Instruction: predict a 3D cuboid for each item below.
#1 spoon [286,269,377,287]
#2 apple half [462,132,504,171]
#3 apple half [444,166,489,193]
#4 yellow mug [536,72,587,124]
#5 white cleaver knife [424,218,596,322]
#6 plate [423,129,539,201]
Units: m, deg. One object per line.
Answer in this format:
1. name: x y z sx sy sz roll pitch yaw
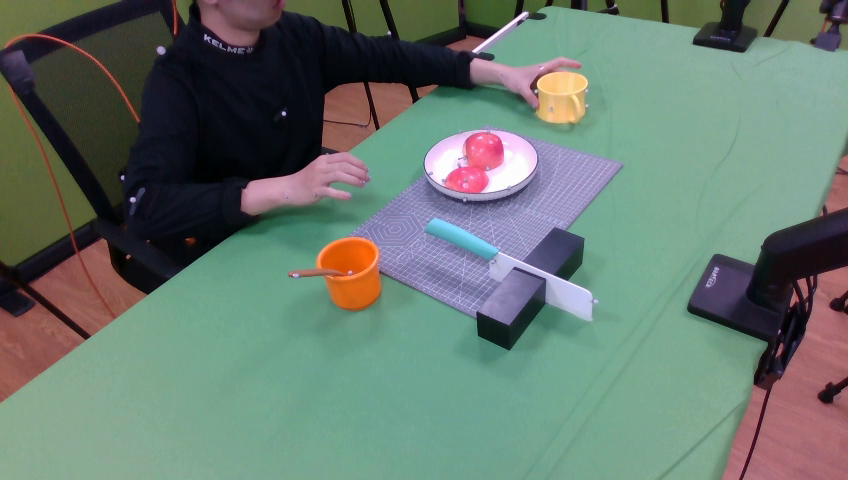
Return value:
1. spoon: -0.125 0.049 0.831 0.041 0.195 0.021 22 92 28
2. apple half: 0.109 -0.170 1.110 0.075 0.053 0.080 -6 40 -2
3. apple half: 0.074 -0.112 1.063 0.081 0.033 0.081 -6 39 5
4. yellow mug: 0.285 -0.281 1.222 0.100 0.064 0.130 -16 42 -9
5. white cleaver knife: 0.114 0.042 0.865 0.284 0.066 0.021 27 47 28
6. plate: 0.103 -0.132 1.092 0.209 0.038 0.208 -4 40 4
